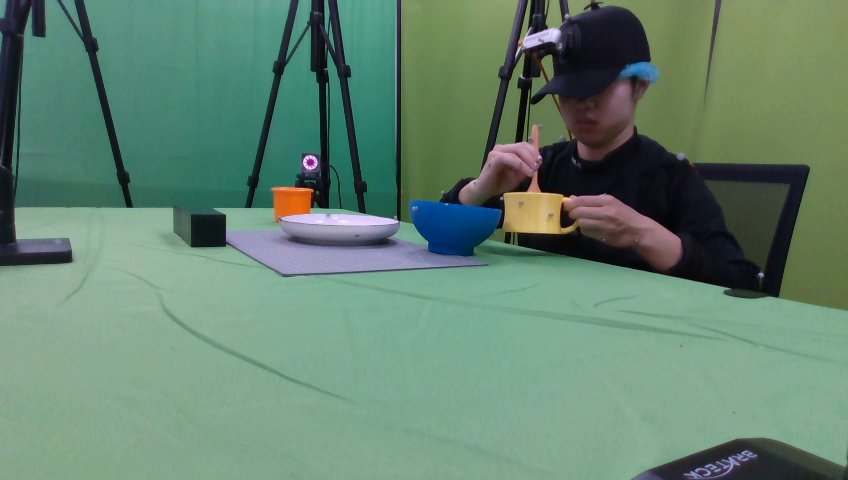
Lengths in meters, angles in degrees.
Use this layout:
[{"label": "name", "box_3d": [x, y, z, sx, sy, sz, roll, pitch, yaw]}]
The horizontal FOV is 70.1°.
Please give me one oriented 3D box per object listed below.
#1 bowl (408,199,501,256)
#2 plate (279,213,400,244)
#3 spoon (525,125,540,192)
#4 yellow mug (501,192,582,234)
[{"label": "bowl", "box_3d": [0.045, -0.019, 0.967, 0.151, 0.077, 0.151, 6, 5, 0]}, {"label": "plate", "box_3d": [-0.147, -0.020, 1.060, 0.209, 0.038, 0.209, 3, 7, 0]}, {"label": "spoon", "box_3d": [0.186, -0.118, 1.031, 0.041, 0.193, 0.022, -7, -34, 25]}, {"label": "yellow mug", "box_3d": [0.195, -0.043, 1.000, 0.130, 0.064, 0.100, 3, 1, 11]}]
